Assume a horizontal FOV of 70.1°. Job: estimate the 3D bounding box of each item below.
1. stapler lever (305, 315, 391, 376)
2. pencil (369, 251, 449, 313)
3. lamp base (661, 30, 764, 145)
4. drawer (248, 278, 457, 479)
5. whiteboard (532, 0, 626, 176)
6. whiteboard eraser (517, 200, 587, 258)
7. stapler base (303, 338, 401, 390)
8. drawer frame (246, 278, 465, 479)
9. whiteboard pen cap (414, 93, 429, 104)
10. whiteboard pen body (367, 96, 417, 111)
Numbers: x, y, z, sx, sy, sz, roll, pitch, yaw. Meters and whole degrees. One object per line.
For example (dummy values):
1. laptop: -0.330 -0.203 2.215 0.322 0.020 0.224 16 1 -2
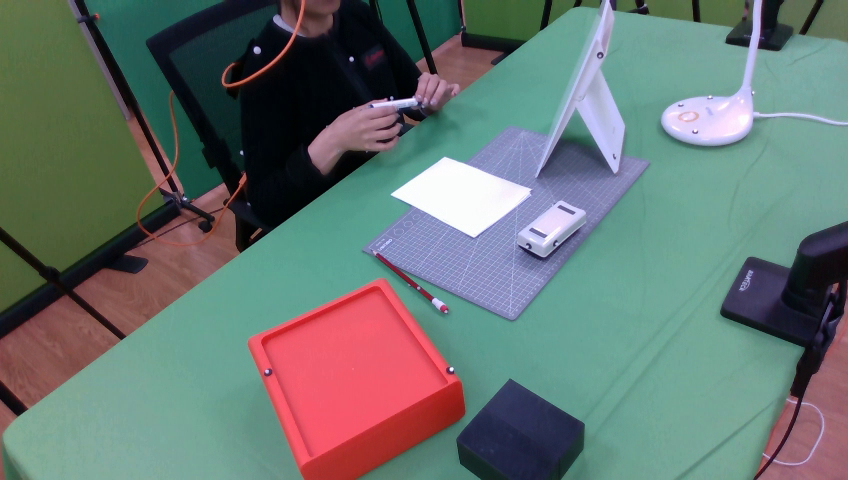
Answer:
1. stapler lever: -0.100 0.136 0.790 0.118 0.040 0.026 -23 43 -12
2. pencil: -0.028 0.060 0.924 0.012 0.012 0.192 -33 46 -25
3. lamp base: 0.535 -0.287 1.096 0.179 0.181 0.159 -10 40 -4
4. drawer: -0.092 0.168 0.756 0.195 0.073 0.210 -23 43 -18
5. whiteboard: 0.321 -0.258 1.049 0.144 0.306 0.217 22 45 5
6. whiteboard eraser: 0.201 -0.016 0.943 0.113 0.042 0.055 -37 46 -29
7. stapler base: -0.096 0.160 0.813 0.131 0.024 0.041 -16 42 -18
8. drawer frame: -0.088 0.168 0.752 0.202 0.083 0.211 -24 43 -18
9. whiteboard pen cap: -0.008 -0.284 1.217 0.033 0.018 0.018 -24 42 -26
10. whiteboard pen body: -0.052 -0.268 1.182 0.142 0.017 0.017 -19 38 -37
